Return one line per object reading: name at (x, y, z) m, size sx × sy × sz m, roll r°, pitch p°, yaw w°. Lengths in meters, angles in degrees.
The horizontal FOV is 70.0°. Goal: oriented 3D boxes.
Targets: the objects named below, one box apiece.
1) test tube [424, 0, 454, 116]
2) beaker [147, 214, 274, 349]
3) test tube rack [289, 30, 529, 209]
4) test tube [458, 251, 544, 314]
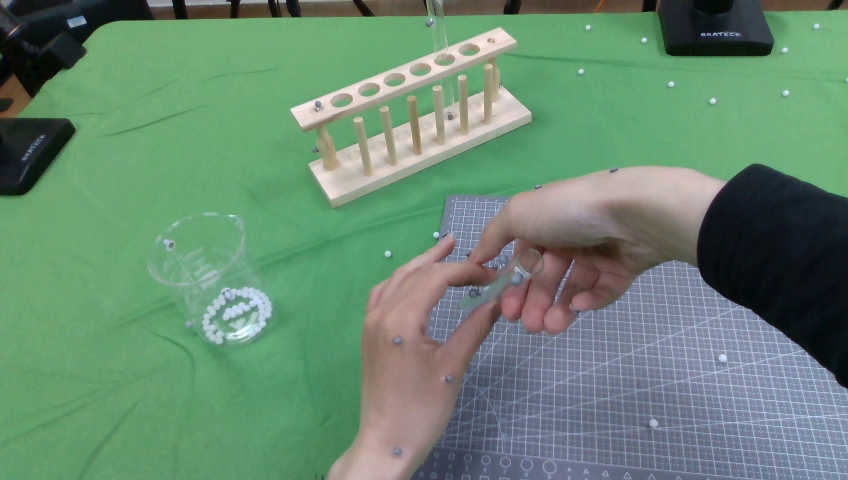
test tube at (0.015, -0.191, 0.619) m, size 0.017 × 0.152 × 0.017 m, roll -5°, pitch 47°, yaw 6°
beaker at (-0.170, 0.037, 0.507) m, size 0.073 × 0.101 × 0.084 m, roll 26°, pitch 57°, yaw 25°
test tube rack at (-0.008, -0.129, 0.635) m, size 0.242 × 0.086 × 0.066 m, roll -25°, pitch 52°, yaw -14°
test tube at (0.045, 0.032, 0.399) m, size 0.017 × 0.151 × 0.017 m, roll 3°, pitch 75°, yaw -10°
